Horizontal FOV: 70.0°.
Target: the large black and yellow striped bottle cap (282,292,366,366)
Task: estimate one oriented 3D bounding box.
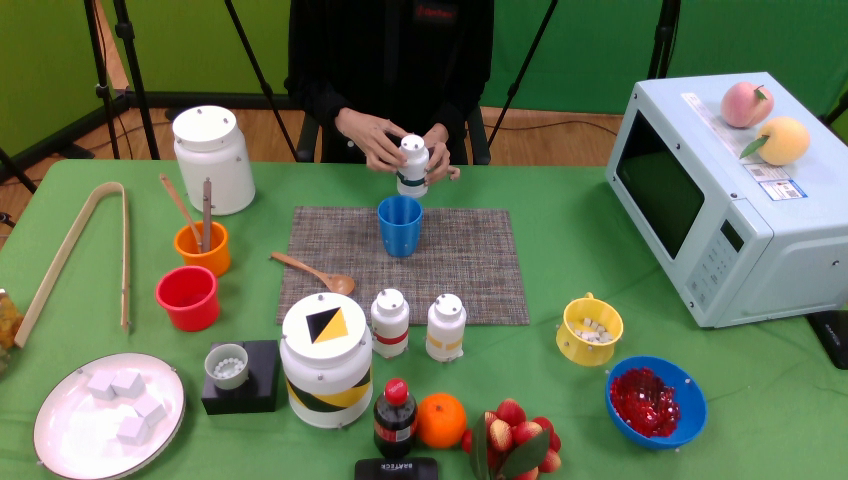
[{"bbox_3d":[-0.138,0.121,0.841,0.115,0.019,0.114,3,47,-3],"label":"large black and yellow striped bottle cap"}]

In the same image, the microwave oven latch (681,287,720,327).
[{"bbox_3d":[0.494,0.119,1.087,0.030,0.029,0.078,-5,46,-9],"label":"microwave oven latch"}]

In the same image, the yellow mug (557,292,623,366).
[{"bbox_3d":[0.285,0.145,1.051,0.100,0.064,0.130,7,45,4],"label":"yellow mug"}]

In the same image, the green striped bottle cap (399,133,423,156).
[{"bbox_3d":[-0.024,-0.178,1.125,0.044,0.020,0.044,1,56,-2],"label":"green striped bottle cap"}]

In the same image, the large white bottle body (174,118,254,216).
[{"bbox_3d":[-0.415,-0.154,1.199,0.131,0.185,0.130,2,46,-2],"label":"large white bottle body"}]

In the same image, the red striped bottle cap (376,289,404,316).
[{"bbox_3d":[-0.054,0.098,0.958,0.044,0.018,0.044,-1,48,1],"label":"red striped bottle cap"}]

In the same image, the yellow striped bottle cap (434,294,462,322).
[{"bbox_3d":[0.038,0.107,0.958,0.044,0.019,0.044,2,45,-2],"label":"yellow striped bottle cap"}]

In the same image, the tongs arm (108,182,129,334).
[{"bbox_3d":[-0.571,0.019,1.123,0.051,0.026,0.382,-11,47,-11],"label":"tongs arm"}]

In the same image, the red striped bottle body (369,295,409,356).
[{"bbox_3d":[-0.059,0.134,0.997,0.063,0.120,0.062,5,48,-5],"label":"red striped bottle body"}]

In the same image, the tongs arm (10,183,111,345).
[{"bbox_3d":[-0.658,0.027,1.109,0.028,0.028,0.385,-2,45,2],"label":"tongs arm"}]

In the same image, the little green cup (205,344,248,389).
[{"bbox_3d":[-0.293,0.191,0.909,0.061,0.039,0.061,1,47,-1],"label":"little green cup"}]

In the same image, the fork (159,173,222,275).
[{"bbox_3d":[-0.427,-0.029,1.103,0.028,0.018,0.207,-31,99,-30],"label":"fork"}]

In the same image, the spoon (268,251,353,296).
[{"bbox_3d":[-0.212,0.057,1.121,0.193,0.022,0.041,24,74,18],"label":"spoon"}]

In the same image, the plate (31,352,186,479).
[{"bbox_3d":[-0.459,0.262,0.898,0.209,0.038,0.208,2,46,-2],"label":"plate"}]

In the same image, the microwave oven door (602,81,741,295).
[{"bbox_3d":[0.456,-0.107,1.162,0.039,0.245,0.353,-7,47,-11],"label":"microwave oven door"}]

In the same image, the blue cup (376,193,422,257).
[{"bbox_3d":[-0.047,-0.022,1.155,0.093,0.101,0.092,1,47,-1],"label":"blue cup"}]

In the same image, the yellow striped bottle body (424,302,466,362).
[{"bbox_3d":[0.035,0.143,0.995,0.063,0.121,0.062,2,46,-2],"label":"yellow striped bottle body"}]

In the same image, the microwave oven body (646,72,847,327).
[{"bbox_3d":[0.607,-0.089,1.164,0.326,0.261,0.438,-7,46,-10],"label":"microwave oven body"}]

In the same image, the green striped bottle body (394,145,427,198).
[{"bbox_3d":[-0.026,-0.142,1.168,0.063,0.120,0.063,1,51,-1],"label":"green striped bottle body"}]

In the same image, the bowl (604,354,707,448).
[{"bbox_3d":[0.346,0.261,0.937,0.151,0.077,0.150,2,46,-2],"label":"bowl"}]

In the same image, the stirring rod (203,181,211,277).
[{"bbox_3d":[-0.396,-0.021,1.108,0.014,0.006,0.176,-1,89,-2],"label":"stirring rod"}]

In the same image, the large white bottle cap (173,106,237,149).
[{"bbox_3d":[-0.411,-0.212,1.138,0.115,0.018,0.114,2,47,-2],"label":"large white bottle cap"}]

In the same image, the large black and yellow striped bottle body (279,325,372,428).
[{"bbox_3d":[-0.143,0.181,0.900,0.131,0.185,0.130,2,46,-2],"label":"large black and yellow striped bottle body"}]
